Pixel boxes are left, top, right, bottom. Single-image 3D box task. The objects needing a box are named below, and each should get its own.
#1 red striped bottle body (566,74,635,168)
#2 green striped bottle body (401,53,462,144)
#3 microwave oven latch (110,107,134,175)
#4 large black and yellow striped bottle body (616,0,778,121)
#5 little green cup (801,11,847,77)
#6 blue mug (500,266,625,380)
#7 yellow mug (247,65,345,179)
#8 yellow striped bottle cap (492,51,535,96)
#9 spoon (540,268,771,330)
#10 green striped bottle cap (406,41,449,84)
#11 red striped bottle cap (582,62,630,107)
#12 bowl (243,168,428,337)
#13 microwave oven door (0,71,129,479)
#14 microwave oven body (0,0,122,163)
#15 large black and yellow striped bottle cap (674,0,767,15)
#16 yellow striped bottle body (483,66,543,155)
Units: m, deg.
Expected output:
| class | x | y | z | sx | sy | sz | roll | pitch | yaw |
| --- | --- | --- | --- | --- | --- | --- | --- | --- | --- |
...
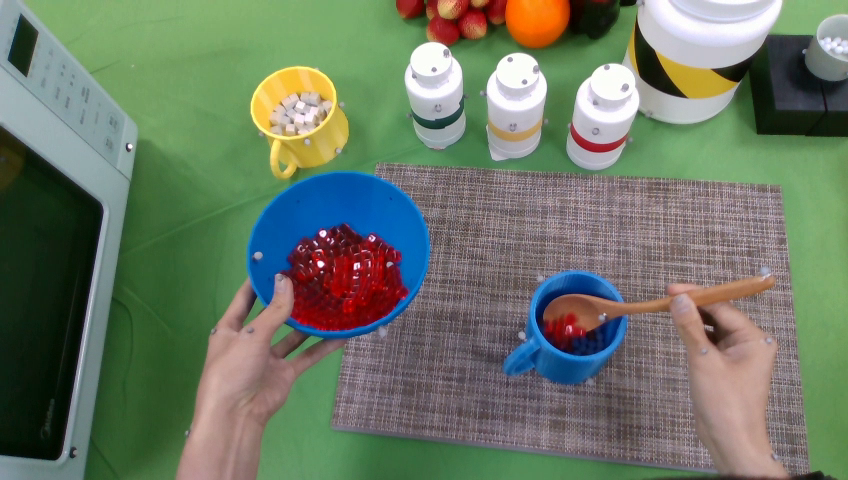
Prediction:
| class | x | y | z | sx | sy | sz | roll | pitch | yaw |
| --- | --- | --- | --- | --- | --- | --- | --- | --- | --- |
| red striped bottle body | 0.187 | -0.133 | 0.645 | 0.063 | 0.120 | 0.062 | -3 | 66 | 7 |
| green striped bottle body | 0.010 | -0.164 | 0.677 | 0.063 | 0.120 | 0.062 | -2 | 67 | 5 |
| microwave oven latch | -0.366 | -0.116 | 0.719 | 0.030 | 0.030 | 0.078 | -3 | 68 | 4 |
| large black and yellow striped bottle body | 0.284 | -0.228 | 0.640 | 0.130 | 0.185 | 0.130 | -2 | 67 | 5 |
| little green cup | 0.434 | -0.204 | 0.638 | 0.061 | 0.039 | 0.061 | -1 | 66 | 3 |
| blue mug | 0.121 | 0.089 | 0.565 | 0.116 | 0.106 | 0.081 | -30 | 67 | -7 |
| yellow mug | -0.154 | -0.132 | 0.709 | 0.099 | 0.064 | 0.130 | 14 | 70 | 11 |
| yellow striped bottle cap | 0.091 | -0.169 | 0.614 | 0.044 | 0.019 | 0.044 | -2 | 69 | 5 |
| spoon | 0.179 | 0.049 | 0.497 | 0.021 | 0.193 | 0.042 | -39 | 106 | -42 |
| green striped bottle cap | 0.003 | -0.185 | 0.629 | 0.044 | 0.020 | 0.044 | -2 | 66 | 5 |
| red striped bottle cap | 0.180 | -0.154 | 0.597 | 0.044 | 0.018 | 0.044 | -1 | 67 | 2 |
| bowl | -0.072 | 0.021 | 0.527 | 0.151 | 0.077 | 0.150 | 0 | 64 | 0 |
| microwave oven door | -0.369 | 0.047 | 0.543 | 0.039 | 0.245 | 0.353 | -5 | 67 | 4 |
| microwave oven body | -0.515 | 0.022 | 0.573 | 0.326 | 0.262 | 0.438 | -5 | 68 | 4 |
| large black and yellow striped bottle cap | 0.275 | -0.259 | 0.562 | 0.115 | 0.019 | 0.114 | -2 | 66 | 6 |
| yellow striped bottle body | 0.096 | -0.150 | 0.661 | 0.063 | 0.121 | 0.062 | -2 | 67 | 6 |
